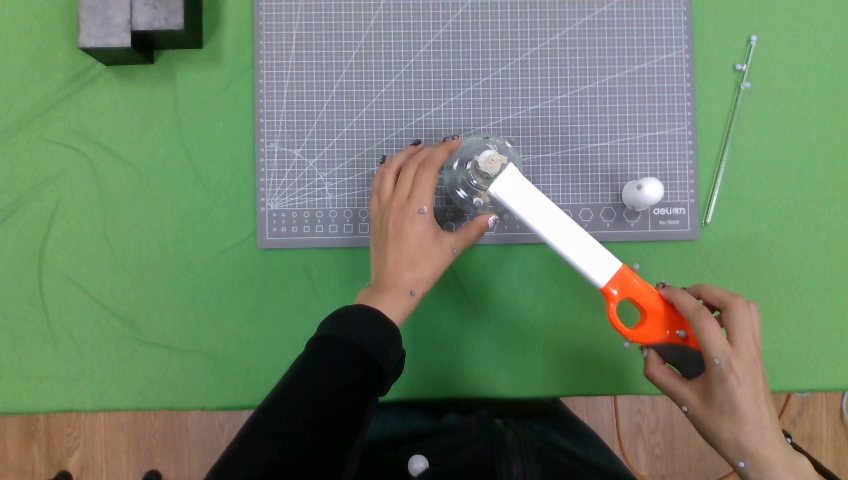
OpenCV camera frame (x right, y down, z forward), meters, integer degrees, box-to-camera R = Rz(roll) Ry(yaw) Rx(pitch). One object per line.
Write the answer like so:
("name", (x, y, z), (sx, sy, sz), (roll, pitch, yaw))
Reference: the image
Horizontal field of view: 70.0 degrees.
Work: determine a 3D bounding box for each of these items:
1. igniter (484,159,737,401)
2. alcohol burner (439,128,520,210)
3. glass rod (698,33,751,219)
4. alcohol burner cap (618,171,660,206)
("igniter", (0.162, 0.035, 0.515), (0.277, 0.025, 0.057), (42, 87, -2))
("alcohol burner", (0.054, -0.069, 0.564), (0.078, 0.119, 0.078), (0, 86, -1))
("glass rod", (0.310, -0.118, 0.625), (0.008, 0.008, 0.199), (15, 89, -1))
("alcohol burner cap", (0.216, -0.052, 0.602), (0.034, 0.048, 0.034), (0, 87, 0))
